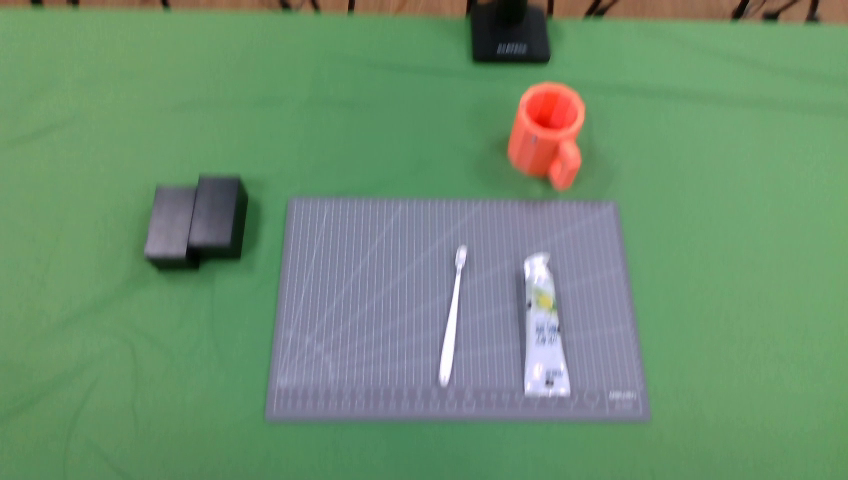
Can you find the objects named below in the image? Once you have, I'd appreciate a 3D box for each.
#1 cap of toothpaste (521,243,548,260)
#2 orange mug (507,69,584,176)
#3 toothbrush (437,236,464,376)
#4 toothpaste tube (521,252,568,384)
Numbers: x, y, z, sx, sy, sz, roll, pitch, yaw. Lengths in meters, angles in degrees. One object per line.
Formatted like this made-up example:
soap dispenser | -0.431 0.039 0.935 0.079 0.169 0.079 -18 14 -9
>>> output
cap of toothpaste | 0.141 0.016 0.772 0.037 0.037 0.011 -11 65 -8
orange mug | 0.169 -0.153 0.816 0.083 0.101 0.125 -19 64 -10
toothbrush | 0.034 0.078 0.752 0.014 0.017 0.180 14 68 -12
toothpaste tube | 0.142 0.093 0.745 0.055 0.035 0.164 -3 71 4
